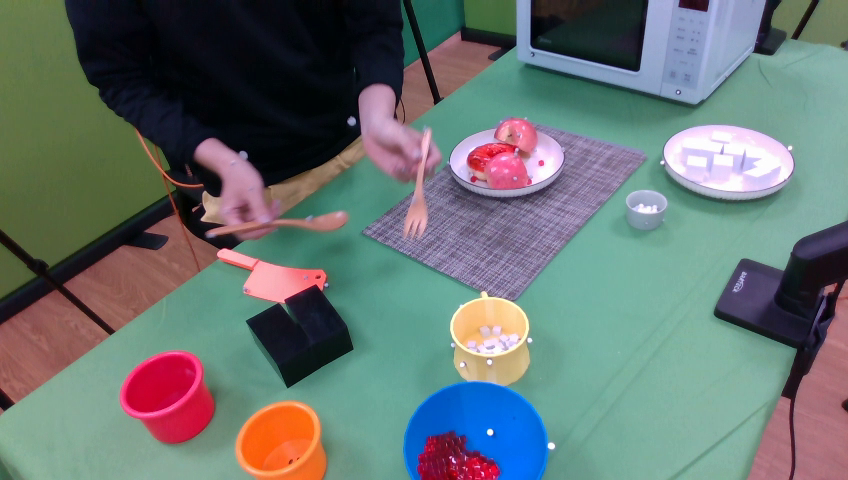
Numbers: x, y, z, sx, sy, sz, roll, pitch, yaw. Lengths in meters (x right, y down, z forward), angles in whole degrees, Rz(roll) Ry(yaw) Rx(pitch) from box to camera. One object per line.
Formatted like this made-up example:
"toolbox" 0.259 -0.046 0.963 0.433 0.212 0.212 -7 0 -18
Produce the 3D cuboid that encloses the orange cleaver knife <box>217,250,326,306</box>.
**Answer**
"orange cleaver knife" -0.248 0.058 0.946 0.210 0.012 0.077 12 49 20

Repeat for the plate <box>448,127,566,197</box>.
"plate" 0.150 -0.138 1.097 0.209 0.038 0.208 -4 40 4

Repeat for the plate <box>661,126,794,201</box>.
"plate" 0.513 -0.127 1.035 0.207 0.039 0.206 -4 40 4

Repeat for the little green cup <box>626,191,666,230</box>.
"little green cup" 0.352 -0.046 0.963 0.061 0.039 0.061 -4 40 4

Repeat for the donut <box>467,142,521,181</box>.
"donut" 0.126 -0.144 1.090 0.099 0.048 0.098 -5 36 4

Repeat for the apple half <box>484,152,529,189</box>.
"apple half" 0.144 -0.116 1.032 0.081 0.033 0.081 3 77 -11

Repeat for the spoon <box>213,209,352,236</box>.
"spoon" -0.195 -0.025 0.849 0.195 0.021 0.041 -6 37 -26

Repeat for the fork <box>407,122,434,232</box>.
"fork" -0.001 -0.088 0.790 0.028 0.019 0.206 -3 53 11

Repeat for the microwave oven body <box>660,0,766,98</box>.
"microwave oven body" 0.473 -0.514 1.317 0.438 0.261 0.327 26 51 34

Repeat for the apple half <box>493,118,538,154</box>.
"apple half" 0.175 -0.196 1.114 0.080 0.053 0.075 29 12 34

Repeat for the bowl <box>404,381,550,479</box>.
"bowl" 0.058 0.235 0.645 0.151 0.077 0.150 -4 39 4

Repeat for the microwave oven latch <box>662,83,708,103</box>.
"microwave oven latch" 0.518 -0.296 1.204 0.078 0.029 0.030 27 52 35

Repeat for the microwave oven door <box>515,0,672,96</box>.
"microwave oven door" 0.343 -0.455 1.259 0.353 0.245 0.039 26 51 33

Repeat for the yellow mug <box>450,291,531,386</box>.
"yellow mug" 0.085 0.120 0.786 0.100 0.064 0.130 -7 39 1
